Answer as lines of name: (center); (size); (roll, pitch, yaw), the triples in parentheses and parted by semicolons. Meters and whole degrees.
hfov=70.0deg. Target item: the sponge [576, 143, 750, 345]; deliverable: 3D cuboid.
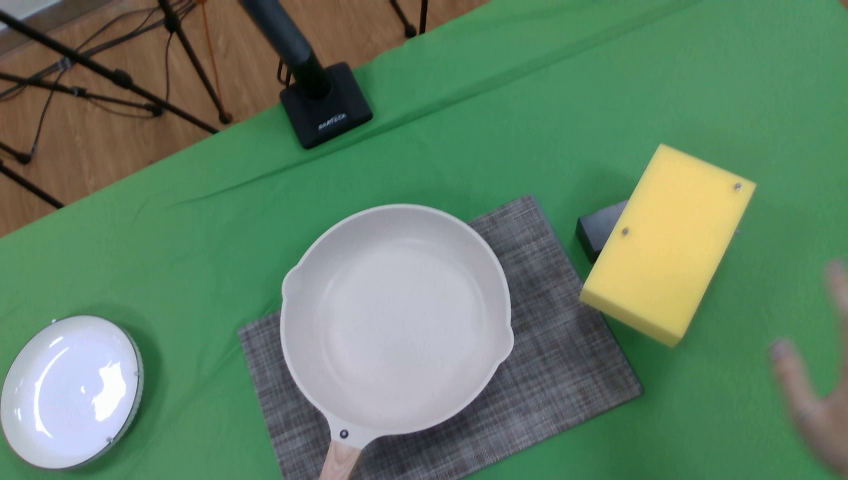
sponge: (0.280, 0.003, 0.715); (0.117, 0.061, 0.206); (27, 76, 17)

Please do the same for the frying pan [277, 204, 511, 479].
frying pan: (-0.073, 0.187, 0.733); (0.305, 0.103, 0.485); (15, 65, 15)

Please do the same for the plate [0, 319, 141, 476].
plate: (-0.481, 0.213, 0.830); (0.207, 0.039, 0.206); (-3, 70, 8)
